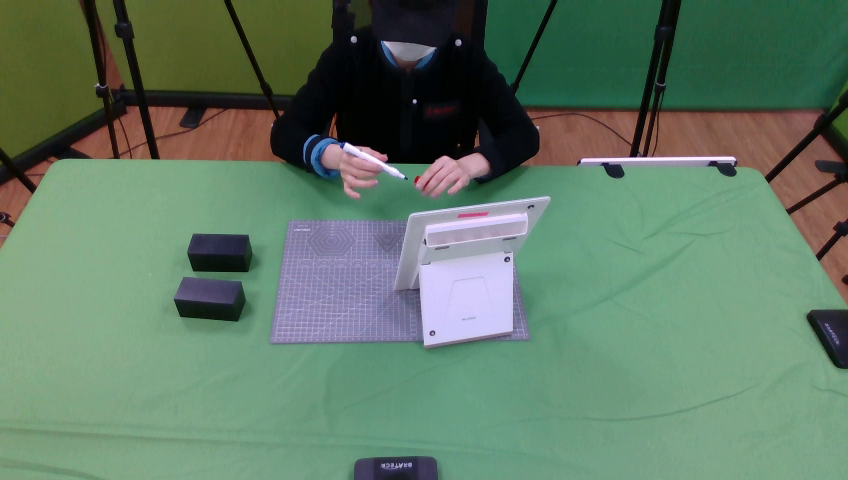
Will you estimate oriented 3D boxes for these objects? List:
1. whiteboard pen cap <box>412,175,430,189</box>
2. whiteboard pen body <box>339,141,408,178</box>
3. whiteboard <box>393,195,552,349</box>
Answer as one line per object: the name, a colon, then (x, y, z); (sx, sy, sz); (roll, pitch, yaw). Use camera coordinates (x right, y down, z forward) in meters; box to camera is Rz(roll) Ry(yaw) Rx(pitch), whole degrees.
whiteboard pen cap: (-0.005, -0.111, 1.155); (0.032, 0.017, 0.017); (26, 45, -12)
whiteboard pen body: (-0.092, -0.147, 1.129); (0.141, 0.017, 0.017); (26, 44, -15)
whiteboard: (0.077, 0.071, 0.977); (0.217, 0.306, 0.143); (-7, 66, -11)
